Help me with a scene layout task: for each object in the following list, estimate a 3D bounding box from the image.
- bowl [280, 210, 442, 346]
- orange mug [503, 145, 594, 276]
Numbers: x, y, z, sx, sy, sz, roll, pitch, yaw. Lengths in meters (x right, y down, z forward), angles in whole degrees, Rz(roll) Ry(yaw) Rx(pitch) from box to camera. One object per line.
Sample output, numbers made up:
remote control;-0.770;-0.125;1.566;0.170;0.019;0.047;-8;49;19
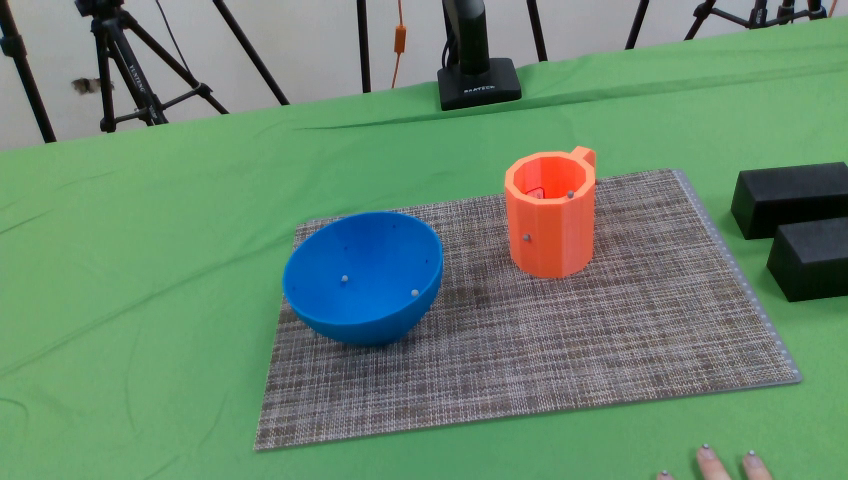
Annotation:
bowl;-0.052;0.048;0.578;0.151;0.077;0.150;-7;41;6
orange mug;0.136;-0.038;0.616;0.083;0.102;0.126;23;56;33
